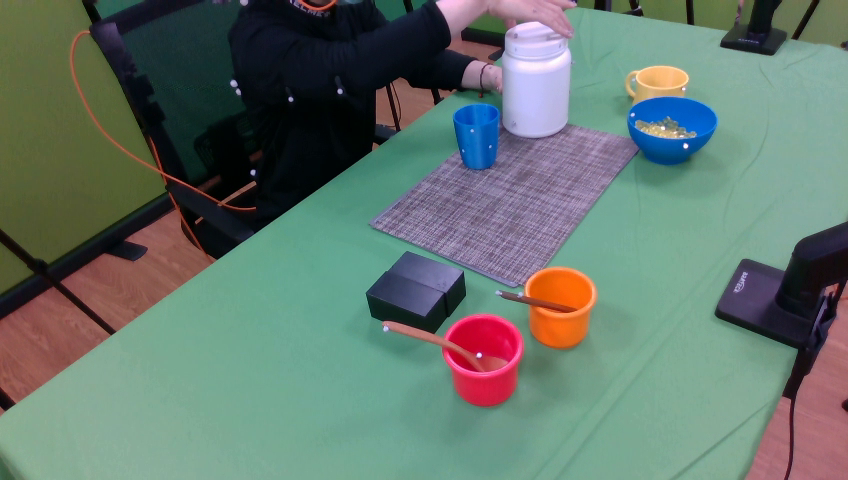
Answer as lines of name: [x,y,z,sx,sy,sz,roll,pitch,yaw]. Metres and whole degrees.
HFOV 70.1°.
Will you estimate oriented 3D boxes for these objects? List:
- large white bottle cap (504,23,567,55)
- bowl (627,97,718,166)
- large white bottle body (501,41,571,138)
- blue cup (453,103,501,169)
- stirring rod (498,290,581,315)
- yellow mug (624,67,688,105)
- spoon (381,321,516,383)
large white bottle cap: [0.206,-0.372,1.117,0.115,0.018,0.114,-4,40,4]
bowl: [0.439,-0.187,1.087,0.151,0.077,0.150,-4,41,4]
large white bottle body: [0.216,-0.307,1.172,0.130,0.185,0.130,-4,41,4]
blue cup: [0.099,-0.188,1.114,0.092,0.100,0.092,-4,39,4]
stirring rod: [0.152,0.081,0.771,0.178,0.006,0.014,16,20,-44]
yellow mug: [0.464,-0.305,1.230,0.100,0.064,0.129,-34,46,-27]
spoon: [0.033,0.131,0.725,0.195,0.021,0.041,29,29,-26]
